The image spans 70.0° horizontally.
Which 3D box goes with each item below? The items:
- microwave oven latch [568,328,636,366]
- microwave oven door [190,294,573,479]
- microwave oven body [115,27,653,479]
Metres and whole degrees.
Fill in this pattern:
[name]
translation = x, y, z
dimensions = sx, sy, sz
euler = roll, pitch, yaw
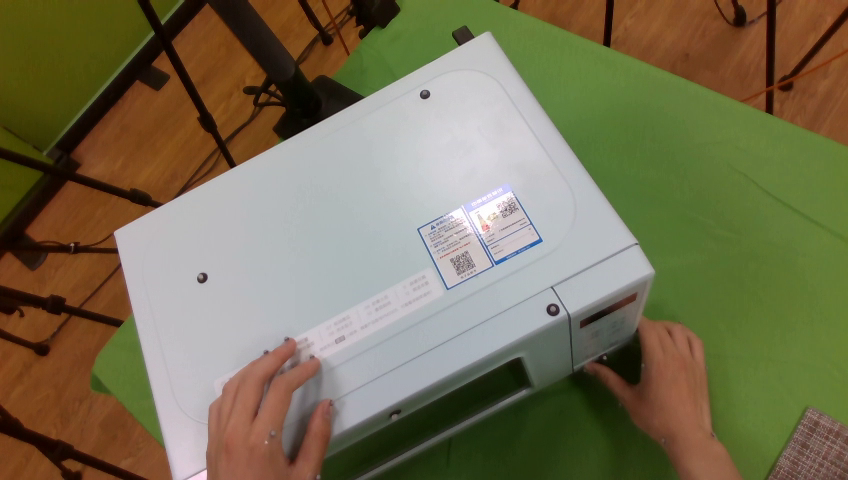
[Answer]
[microwave oven latch]
translation = 0.198, 0.112, 0.684
dimensions = 0.079, 0.030, 0.030
euler = -27, 64, 3
[microwave oven door]
translation = -0.020, 0.175, 0.599
dimensions = 0.356, 0.246, 0.039
euler = -28, 63, 1
[microwave oven body]
translation = -0.041, 0.041, 0.666
dimensions = 0.442, 0.262, 0.323
euler = -28, 64, 2
